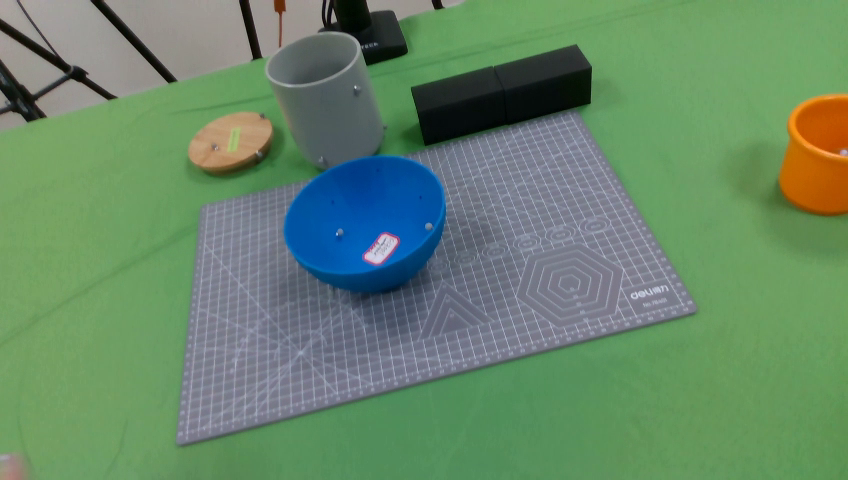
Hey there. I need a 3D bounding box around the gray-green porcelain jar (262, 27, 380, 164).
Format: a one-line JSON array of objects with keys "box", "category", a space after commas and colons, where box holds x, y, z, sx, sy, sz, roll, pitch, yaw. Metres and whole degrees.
[{"box": [-0.110, -0.157, 0.686, 0.106, 0.128, 0.105, -7, 48, 8], "category": "gray-green porcelain jar"}]

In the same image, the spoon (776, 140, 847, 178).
[{"box": [0.390, -0.092, 0.500, 0.022, 0.193, 0.041, 42, 58, -10], "category": "spoon"}]

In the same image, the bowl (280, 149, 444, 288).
[{"box": [-0.050, -0.008, 0.571, 0.151, 0.077, 0.150, -7, 48, 8], "category": "bowl"}]

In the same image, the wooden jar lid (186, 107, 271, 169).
[{"box": [-0.244, -0.127, 0.763, 0.108, 0.021, 0.107, -5, 49, 6], "category": "wooden jar lid"}]
